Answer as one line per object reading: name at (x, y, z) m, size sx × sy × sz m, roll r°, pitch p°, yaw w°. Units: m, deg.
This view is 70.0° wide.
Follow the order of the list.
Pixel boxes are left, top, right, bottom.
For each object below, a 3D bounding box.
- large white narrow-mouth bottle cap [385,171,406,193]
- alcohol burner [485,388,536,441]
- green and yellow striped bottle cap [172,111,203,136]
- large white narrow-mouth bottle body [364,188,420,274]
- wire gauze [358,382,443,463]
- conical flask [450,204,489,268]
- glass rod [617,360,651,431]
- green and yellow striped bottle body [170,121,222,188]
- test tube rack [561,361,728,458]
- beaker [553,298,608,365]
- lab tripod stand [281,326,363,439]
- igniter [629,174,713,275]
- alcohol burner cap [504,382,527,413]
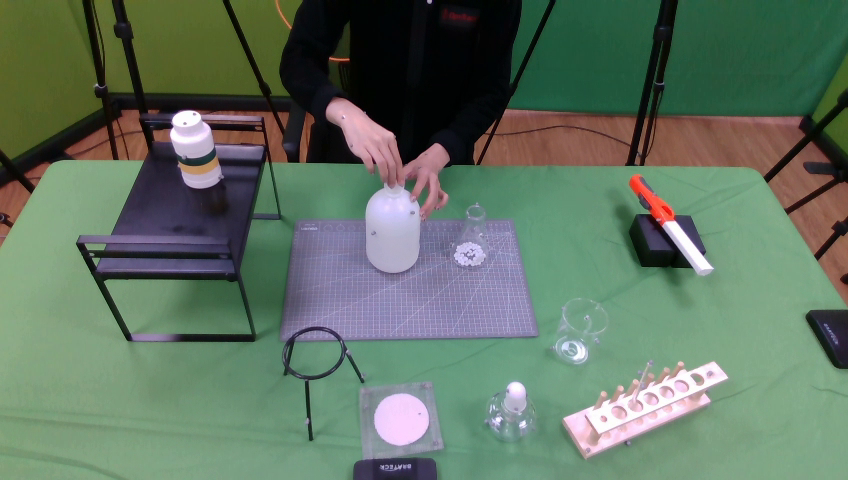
large white narrow-mouth bottle cap at (-0.048, -0.100, 1.034) m, size 0.038 × 0.024 × 0.037 m, roll 4°, pitch 46°, yaw -4°
alcohol burner at (0.131, 0.249, 0.904) m, size 0.078 × 0.120 × 0.077 m, roll 1°, pitch 48°, yaw -1°
green and yellow striped bottle cap at (-0.374, -0.185, 0.957) m, size 0.045 × 0.020 × 0.045 m, roll 4°, pitch 45°, yaw -3°
large white narrow-mouth bottle body at (-0.058, -0.033, 1.104) m, size 0.102 × 0.195 × 0.101 m, roll 4°, pitch 46°, yaw -4°
wire gauze at (-0.039, 0.277, 0.937) m, size 0.121 × 0.011 × 0.124 m, roll -4°, pitch 47°, yaw -7°
conical flask at (0.091, -0.010, 1.141) m, size 0.075 × 0.122 × 0.075 m, roll 2°, pitch 46°, yaw -2°
glass rod at (0.297, 0.227, 0.865) m, size 0.008 × 0.201 × 0.008 m, roll -1°, pitch 47°, yaw 2°
green and yellow striped bottle body at (-0.375, -0.149, 0.995) m, size 0.063 × 0.120 × 0.063 m, roll 2°, pitch 46°, yaw -2°
test tube rack at (0.341, 0.248, 0.940) m, size 0.243 × 0.085 × 0.066 m, roll -15°, pitch 49°, yaw -18°
beaker at (0.260, 0.154, 1.015) m, size 0.073 × 0.101 × 0.084 m, roll 37°, pitch 54°, yaw 27°
lab tripod stand at (-0.166, 0.202, 0.913) m, size 0.148 × 0.132 × 0.147 m, roll 1°, pitch 47°, yaw -1°
igniter at (0.481, -0.040, 1.202) m, size 0.057 × 0.025 × 0.274 m, roll -2°, pitch 46°, yaw -21°
alcohol burner cap at (0.133, 0.225, 0.877) m, size 0.034 × 0.048 × 0.033 m, roll -4°, pitch 47°, yaw 4°
